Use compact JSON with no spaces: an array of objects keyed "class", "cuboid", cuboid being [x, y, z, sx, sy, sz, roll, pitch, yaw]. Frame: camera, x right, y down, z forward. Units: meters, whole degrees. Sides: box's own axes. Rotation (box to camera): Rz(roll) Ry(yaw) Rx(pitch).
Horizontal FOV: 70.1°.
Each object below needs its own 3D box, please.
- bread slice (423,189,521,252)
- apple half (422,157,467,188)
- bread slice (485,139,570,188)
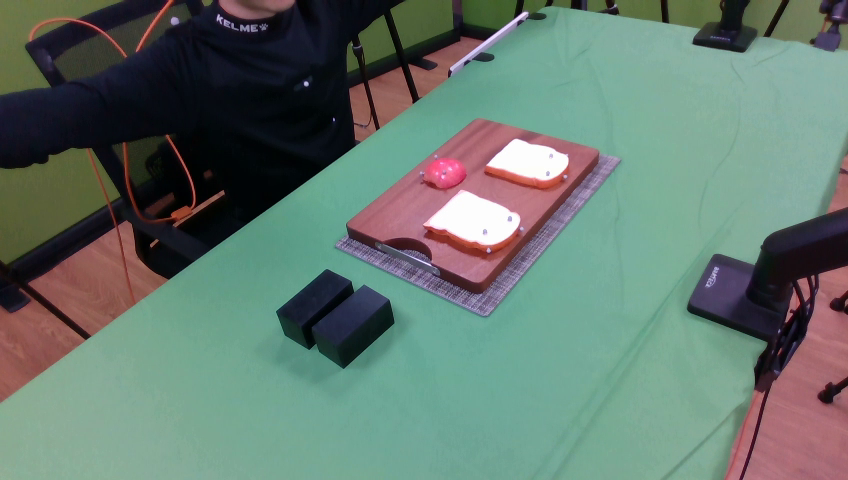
[{"class":"bread slice","cuboid":[0.083,-0.029,0.949,0.133,0.018,0.107,22,49,28]},{"class":"apple half","cuboid":[0.035,-0.128,1.061,0.081,0.033,0.081,-6,42,5]},{"class":"bread slice","cuboid":[0.189,-0.135,1.059,0.130,0.019,0.105,22,49,30]}]
